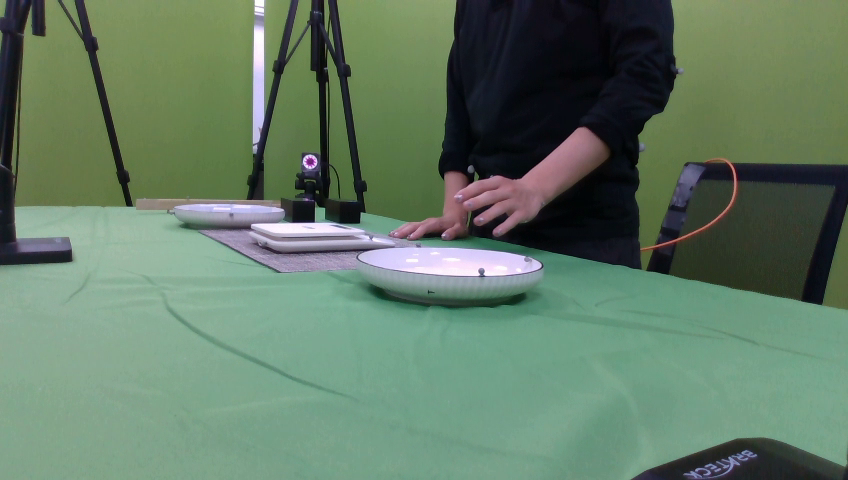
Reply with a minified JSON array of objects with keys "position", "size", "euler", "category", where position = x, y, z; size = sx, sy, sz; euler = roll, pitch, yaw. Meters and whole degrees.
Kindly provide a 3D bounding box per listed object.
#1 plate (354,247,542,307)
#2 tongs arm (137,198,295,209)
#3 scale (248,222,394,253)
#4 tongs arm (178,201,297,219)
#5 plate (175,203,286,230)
[{"position":[0.025,0.039,0.672],"size":[0.209,0.038,0.209],"euler":[3,7,0],"category":"plate"},{"position":[-0.489,-0.086,1.472],"size":[0.050,0.026,0.387],"euler":[10,9,42],"category":"tongs arm"},{"position":[-0.162,-0.006,0.954],"size":[0.202,0.031,0.148],"euler":[-1,9,-32],"category":"scale"},{"position":[-0.418,-0.072,1.420],"size":[0.028,0.028,0.389],"euler":[4,7,27],"category":"tongs arm"},{"position":[-0.380,-0.047,1.199],"size":[0.208,0.039,0.207],"euler":[2,7,0],"category":"plate"}]
